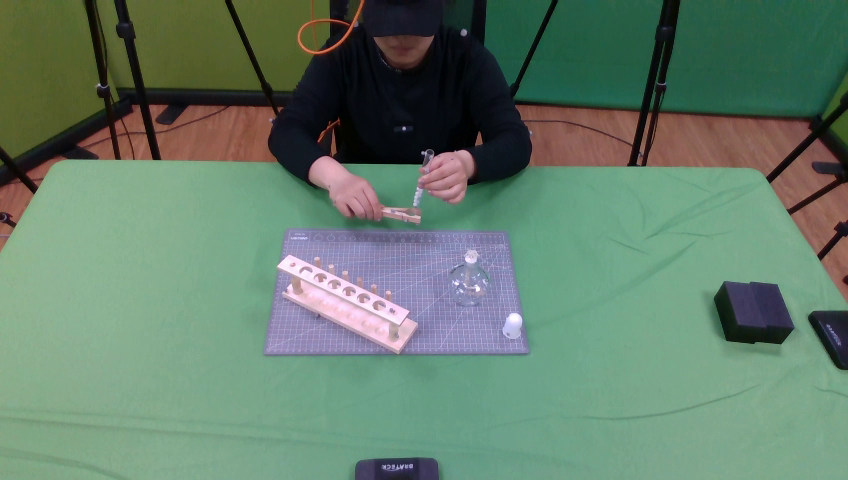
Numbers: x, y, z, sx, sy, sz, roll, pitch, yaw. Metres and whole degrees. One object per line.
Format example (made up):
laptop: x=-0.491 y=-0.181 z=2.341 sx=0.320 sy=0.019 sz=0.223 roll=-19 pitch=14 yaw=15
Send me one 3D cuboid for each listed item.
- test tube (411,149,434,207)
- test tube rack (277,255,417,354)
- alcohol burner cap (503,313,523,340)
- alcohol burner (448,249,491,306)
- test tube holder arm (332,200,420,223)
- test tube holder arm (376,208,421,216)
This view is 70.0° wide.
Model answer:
test tube: x=-0.004 y=-0.111 z=1.119 sx=0.017 sy=0.151 sz=0.017 roll=7 pitch=53 yaw=-9
test tube rack: x=-0.131 y=0.099 z=1.045 sx=0.241 sy=0.085 sz=0.066 roll=23 pitch=49 yaw=17
alcohol burner cap: x=0.156 y=0.148 z=1.051 sx=0.034 sy=0.048 sz=0.033 roll=1 pitch=45 yaw=-1
alcohol burner: x=0.081 y=0.062 z=1.078 sx=0.078 sy=0.120 sz=0.077 roll=1 pitch=45 yaw=-1
test tube holder arm: x=-0.095 y=-0.056 z=1.191 sx=0.178 sy=0.015 sz=0.013 roll=10 pitch=40 yaw=4
test tube holder arm: x=-0.050 y=-0.055 z=1.194 sx=0.088 sy=0.015 sz=0.010 roll=1 pitch=41 yaw=-6
